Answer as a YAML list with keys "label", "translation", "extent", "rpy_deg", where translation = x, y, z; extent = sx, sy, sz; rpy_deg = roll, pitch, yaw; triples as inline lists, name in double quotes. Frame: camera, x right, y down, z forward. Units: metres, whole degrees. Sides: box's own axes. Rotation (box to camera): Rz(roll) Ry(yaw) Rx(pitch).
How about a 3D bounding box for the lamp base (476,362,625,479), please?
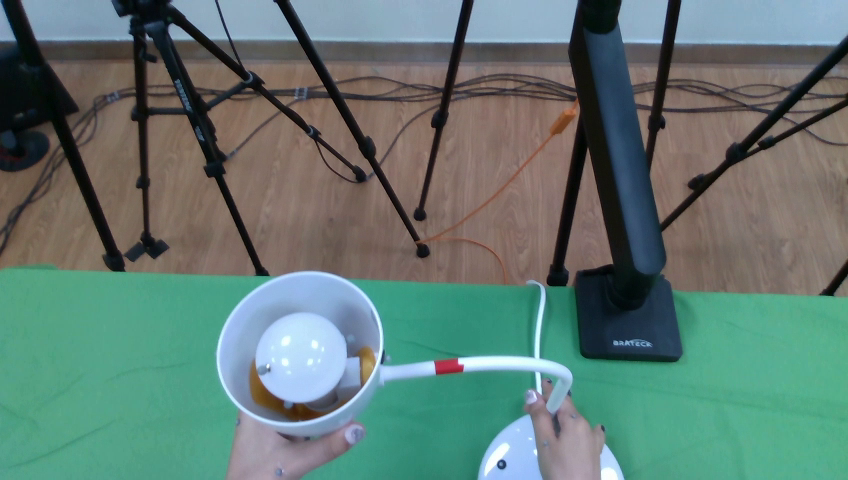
- label: "lamp base"
  translation: [0.131, 0.208, 0.600]
  extent: [0.161, 0.182, 0.177]
  rpy_deg: [-9, 55, -3]

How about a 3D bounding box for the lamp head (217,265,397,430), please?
- label: "lamp head"
  translation: [-0.079, 0.092, 0.459]
  extent: [0.112, 0.124, 0.111]
  rpy_deg: [-3, 61, 5]

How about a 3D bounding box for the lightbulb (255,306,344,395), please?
- label: "lightbulb"
  translation: [-0.085, 0.085, 0.435]
  extent: [0.059, 0.108, 0.059]
  rpy_deg: [1, 65, -1]
